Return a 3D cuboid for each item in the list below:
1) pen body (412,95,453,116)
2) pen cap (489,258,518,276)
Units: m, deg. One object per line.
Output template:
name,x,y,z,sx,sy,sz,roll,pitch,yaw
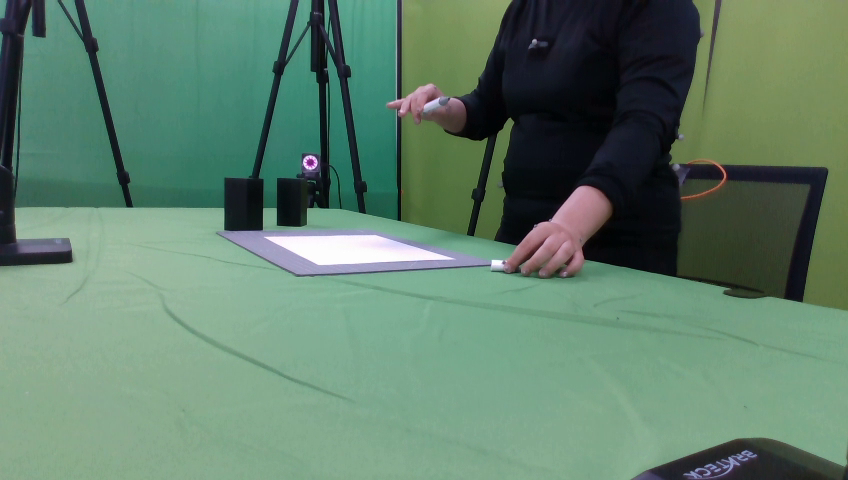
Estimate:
pen body,0.016,-0.244,1.097,0.017,0.017,0.143,-1,0,-27
pen cap,0.106,0.037,0.813,0.038,0.017,0.017,18,11,12
